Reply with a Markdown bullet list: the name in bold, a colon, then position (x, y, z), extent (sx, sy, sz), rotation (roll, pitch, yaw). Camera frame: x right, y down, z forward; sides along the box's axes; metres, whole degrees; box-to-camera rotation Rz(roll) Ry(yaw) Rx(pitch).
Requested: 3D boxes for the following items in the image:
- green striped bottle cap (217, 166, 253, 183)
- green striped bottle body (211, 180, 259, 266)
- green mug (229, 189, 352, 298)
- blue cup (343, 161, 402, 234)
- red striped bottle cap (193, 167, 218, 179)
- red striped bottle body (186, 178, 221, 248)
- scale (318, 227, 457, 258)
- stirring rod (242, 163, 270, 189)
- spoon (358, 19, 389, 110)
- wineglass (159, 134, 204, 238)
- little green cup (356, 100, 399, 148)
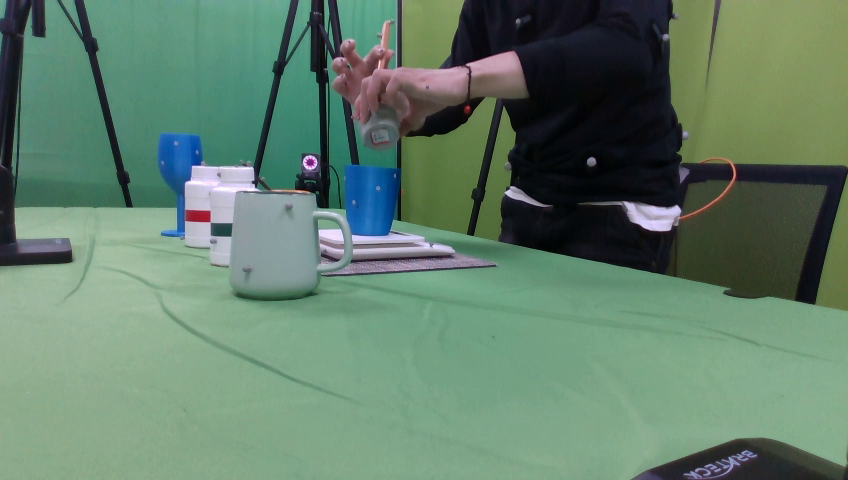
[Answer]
- **green striped bottle cap**: position (-0.242, -0.085, 0.777), extent (0.044, 0.020, 0.044), rotation (2, 9, 0)
- **green striped bottle body**: position (-0.243, -0.029, 0.784), extent (0.063, 0.119, 0.063), rotation (2, 7, 0)
- **green mug**: position (-0.135, 0.002, 0.618), extent (0.125, 0.105, 0.092), rotation (2, 7, 4)
- **blue cup**: position (-0.078, -0.062, 0.884), extent (0.093, 0.100, 0.092), rotation (4, 6, 0)
- **red striped bottle cap**: position (-0.329, -0.103, 0.921), extent (0.044, 0.017, 0.044), rotation (-1, 9, 0)
- **red striped bottle body**: position (-0.331, -0.050, 0.927), extent (0.063, 0.119, 0.063), rotation (2, 6, 0)
- **scale**: position (-0.067, 0.001, 0.906), extent (0.202, 0.031, 0.148), rotation (-2, 8, -31)
- **stirring rod**: position (-0.298, -0.091, 1.198), extent (0.014, 0.006, 0.177), rotation (10, -31, 45)
- **spoon**: position (-0.069, -0.256, 0.895), extent (0.041, 0.193, 0.022), rotation (-17, -39, 35)
- **wineglass**: position (-0.415, -0.093, 1.040), extent (0.074, 0.172, 0.073), rotation (2, 7, 0)
- **little green cup**: position (-0.063, -0.161, 0.849), extent (0.062, 0.061, 0.038), rotation (0, 51, -18)
